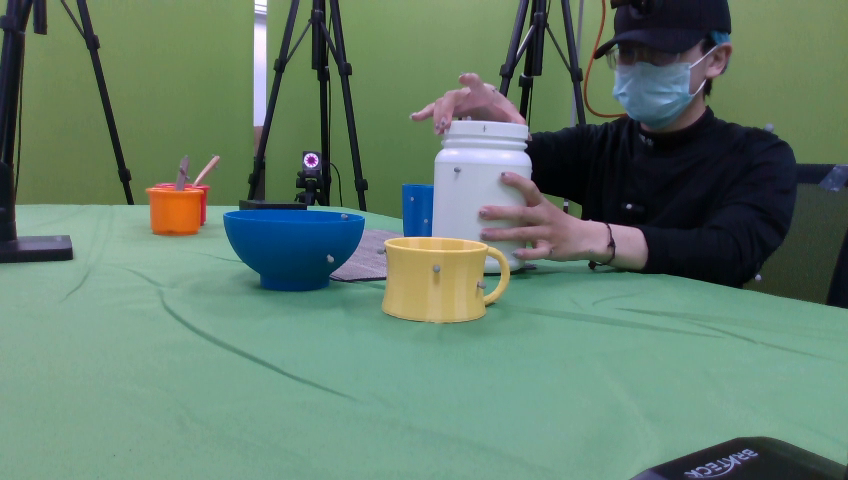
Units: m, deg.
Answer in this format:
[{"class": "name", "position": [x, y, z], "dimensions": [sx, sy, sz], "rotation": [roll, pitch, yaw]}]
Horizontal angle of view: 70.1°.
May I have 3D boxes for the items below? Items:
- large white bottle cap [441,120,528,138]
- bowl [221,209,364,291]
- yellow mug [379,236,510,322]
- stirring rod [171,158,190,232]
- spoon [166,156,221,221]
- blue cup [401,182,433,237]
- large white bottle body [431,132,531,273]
[{"class": "large white bottle cap", "position": [0.079, -0.144, 0.797], "dimensions": [0.115, 0.018, 0.115], "rotation": [2, 6, 0]}, {"class": "bowl", "position": [-0.142, 0.011, 0.660], "dimensions": [0.151, 0.077, 0.151], "rotation": [2, 7, 0]}, {"class": "yellow mug", "position": [0.024, 0.034, 0.575], "dimensions": [0.131, 0.064, 0.099], "rotation": [1, 7, -22]}, {"class": "stirring rod", "position": [-0.426, -0.082, 1.060], "dimensions": [0.014, 0.006, 0.175], "rotation": [1, 50, -13]}, {"class": "spoon", "position": [-0.447, -0.104, 1.192], "dimensions": [0.041, 0.022, 0.193], "rotation": [7, 52, 14]}, {"class": "blue cup", "position": [0.002, -0.038, 0.966], "dimensions": [0.093, 0.100, 0.092], "rotation": [4, 9, 0]}, {"class": "large white bottle body", "position": [0.076, -0.057, 0.808], "dimensions": [0.131, 0.184, 0.130], "rotation": [2, 7, 0]}]
